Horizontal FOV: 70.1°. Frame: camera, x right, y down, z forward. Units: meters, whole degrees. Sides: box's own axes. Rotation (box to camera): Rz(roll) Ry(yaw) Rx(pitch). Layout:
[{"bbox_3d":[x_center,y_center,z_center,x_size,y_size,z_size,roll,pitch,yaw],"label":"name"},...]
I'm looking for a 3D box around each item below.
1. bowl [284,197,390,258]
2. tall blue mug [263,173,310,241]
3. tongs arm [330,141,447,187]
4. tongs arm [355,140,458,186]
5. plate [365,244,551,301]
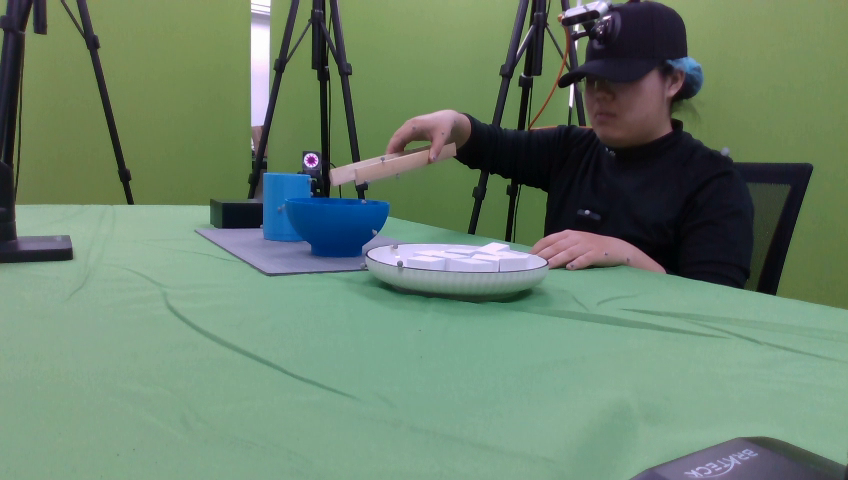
[{"bbox_3d":[-0.125,-0.018,0.870,0.151,0.077,0.151,3,7,0],"label":"bowl"},{"bbox_3d":[-0.233,-0.058,1.019,0.078,0.108,0.107,-1,8,-19],"label":"tall blue mug"},{"bbox_3d":[-0.047,-0.134,1.023,0.028,0.028,0.389,-5,12,27],"label":"tongs arm"},{"bbox_3d":[-0.023,-0.135,1.012,0.050,0.026,0.386,-1,14,29],"label":"tongs arm"},{"bbox_3d":[0.038,0.035,0.685,0.209,0.038,0.209,2,7,0],"label":"plate"}]
